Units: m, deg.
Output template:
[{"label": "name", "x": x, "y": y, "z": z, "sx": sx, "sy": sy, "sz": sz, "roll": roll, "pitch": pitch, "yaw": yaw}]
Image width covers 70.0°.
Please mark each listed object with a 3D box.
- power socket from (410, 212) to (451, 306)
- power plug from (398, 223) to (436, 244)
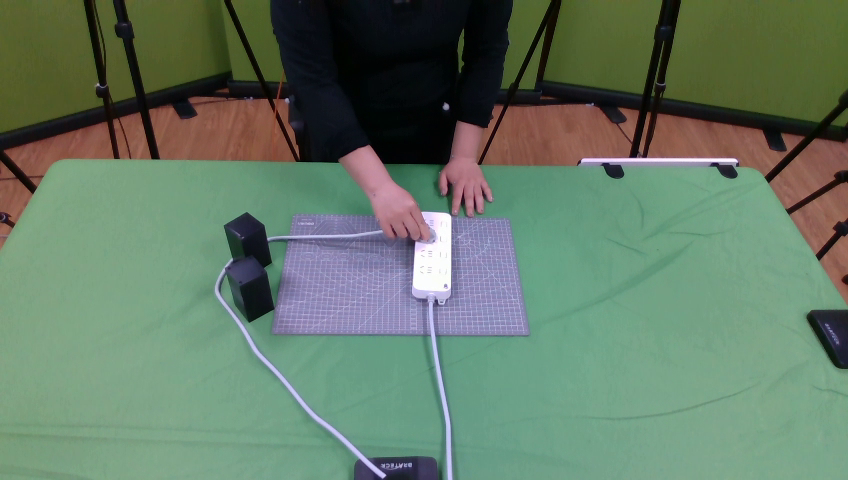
[{"label": "power socket", "x": 0.015, "y": 0.027, "z": 1.161, "sx": 0.072, "sy": 0.033, "sz": 0.225, "roll": 3, "pitch": 46, "yaw": 0}, {"label": "power plug", "x": -0.012, "y": -0.012, "z": 1.171, "sx": 0.072, "sy": 0.053, "sz": 0.035, "roll": 12, "pitch": 46, "yaw": 9}]
